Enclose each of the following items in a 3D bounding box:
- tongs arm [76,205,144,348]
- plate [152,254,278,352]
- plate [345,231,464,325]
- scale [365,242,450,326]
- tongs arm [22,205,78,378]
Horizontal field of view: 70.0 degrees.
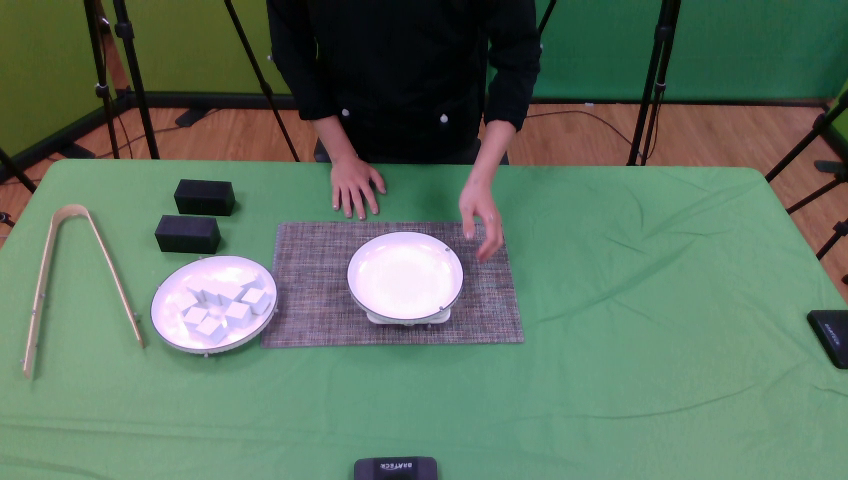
[{"bbox_3d":[-0.570,0.054,1.098,0.028,0.028,0.385,-25,53,-23],"label":"tongs arm"},{"bbox_3d":[-0.357,0.111,1.052,0.208,0.039,0.206,2,46,-2],"label":"plate"},{"bbox_3d":[-0.034,0.069,1.069,0.209,0.038,0.208,2,46,-2],"label":"plate"},{"bbox_3d":[-0.032,0.071,1.113,0.149,0.032,0.199,0,46,-4],"label":"scale"},{"bbox_3d":[-0.652,0.073,1.067,0.051,0.026,0.382,-11,46,-15],"label":"tongs arm"}]
